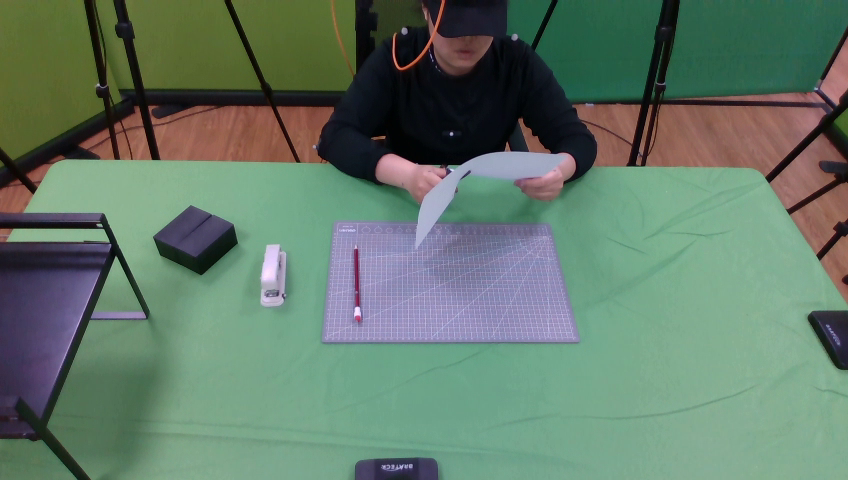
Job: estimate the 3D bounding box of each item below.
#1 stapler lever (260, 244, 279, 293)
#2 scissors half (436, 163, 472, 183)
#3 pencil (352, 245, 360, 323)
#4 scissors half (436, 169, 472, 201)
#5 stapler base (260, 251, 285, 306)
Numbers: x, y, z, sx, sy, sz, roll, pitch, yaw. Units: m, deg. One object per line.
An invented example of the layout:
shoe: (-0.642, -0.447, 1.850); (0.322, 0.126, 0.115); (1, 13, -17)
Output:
stapler lever: (-0.279, 0.045, 1.096); (0.027, 0.040, 0.117); (-2, 44, -9)
scissors half: (0.058, -0.130, 1.176); (0.013, 0.040, 0.174); (-1, 6, -20)
pencil: (-0.127, 0.076, 1.120); (0.012, 0.012, 0.192); (-2, 44, -7)
scissors half: (0.059, -0.109, 1.176); (0.013, 0.175, 0.040); (-6, 80, -20)
stapler base: (-0.279, 0.064, 1.113); (0.041, 0.024, 0.129); (-2, 44, -9)
